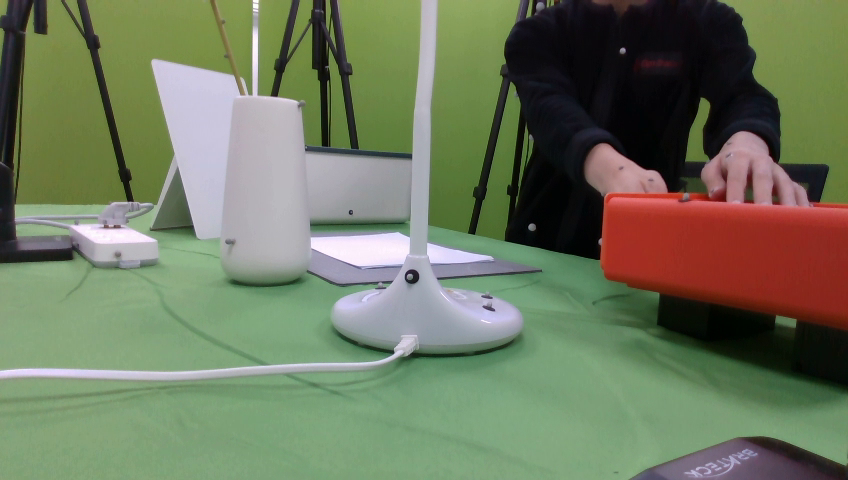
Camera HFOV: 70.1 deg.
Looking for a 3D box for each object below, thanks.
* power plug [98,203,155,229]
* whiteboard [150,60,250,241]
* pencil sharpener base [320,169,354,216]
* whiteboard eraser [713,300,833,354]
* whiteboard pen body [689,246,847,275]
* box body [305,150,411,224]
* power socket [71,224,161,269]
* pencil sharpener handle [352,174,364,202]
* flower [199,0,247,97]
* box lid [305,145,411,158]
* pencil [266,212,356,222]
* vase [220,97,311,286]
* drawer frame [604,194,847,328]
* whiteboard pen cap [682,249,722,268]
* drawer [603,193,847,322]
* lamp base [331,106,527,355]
[{"bbox_3d":[-0.416,-0.026,0.848,0.073,0.052,0.035,1,7,-28],"label":"power plug"},{"bbox_3d":[-0.408,-0.139,1.093,0.143,0.305,0.218,-15,-1,26],"label":"whiteboard"},{"bbox_3d":[-0.207,-0.113,1.438,0.077,0.107,0.061,2,6,-11],"label":"pencil sharpener base"},{"bbox_3d":[0.256,0.043,0.472,0.112,0.042,0.056,43,20,30],"label":"whiteboard eraser"},{"bbox_3d":[0.303,0.017,0.519,0.140,0.017,0.017,6,8,24],"label":"whiteboard pen body"},{"bbox_3d":[-0.230,-0.126,1.371,0.366,0.160,0.253,-2,8,-33],"label":"box body"},{"bbox_3d":[-0.408,0.004,0.793,0.072,0.032,0.225,-2,8,-38],"label":"power socket"},{"bbox_3d":[-0.157,-0.125,1.450,0.031,0.068,0.036,2,19,-11],"label":"pencil sharpener handle"},{"bbox_3d":[-0.187,-0.133,0.648,0.038,0.362,0.044,-1,21,41],"label":"flower"},{"bbox_3d":[-0.228,-0.200,1.361,0.373,0.015,0.262,-1,8,-33],"label":"box lid"},{"bbox_3d":[-0.244,-0.049,1.319,0.195,0.012,0.012,4,7,-12],"label":"pencil"},{"bbox_3d":[-0.172,-0.052,0.662,0.098,0.200,0.098,3,8,0],"label":"vase"},{"bbox_3d":[0.297,0.007,0.497,0.203,0.082,0.212,-1,7,-34],"label":"drawer frame"},{"bbox_3d":[0.250,0.018,0.544,0.033,0.018,0.018,3,7,25],"label":"whiteboard pen cap"},{"bbox_3d":[0.293,0.004,0.500,0.195,0.073,0.210,-1,9,-34],"label":"drawer"},{"bbox_3d":[0.006,-0.012,0.478,0.161,0.180,0.179,2,10,2],"label":"lamp base"}]
